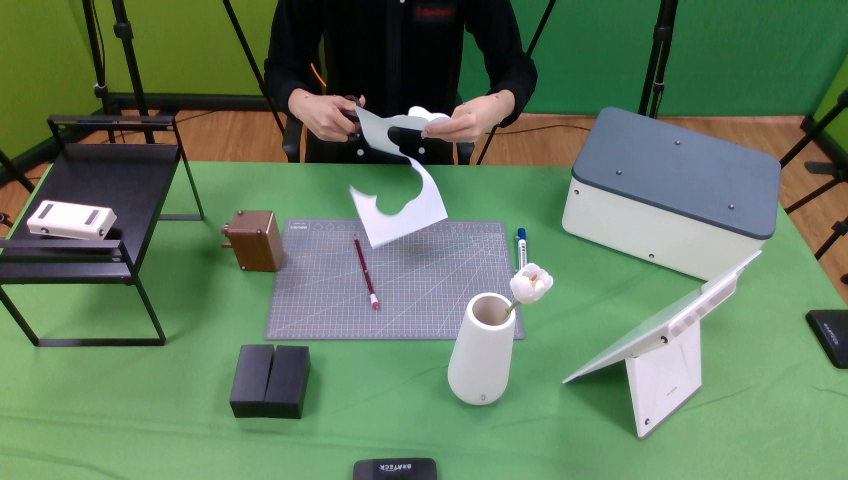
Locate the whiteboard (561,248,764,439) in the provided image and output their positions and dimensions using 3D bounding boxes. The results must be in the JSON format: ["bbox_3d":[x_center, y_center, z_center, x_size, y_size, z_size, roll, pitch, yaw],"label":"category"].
[{"bbox_3d":[0.386,0.176,0.905,0.217,0.306,0.143,-26,72,-27],"label":"whiteboard"}]

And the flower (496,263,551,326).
[{"bbox_3d":[0.102,0.121,0.853,0.044,0.363,0.038,-2,64,-10],"label":"flower"}]

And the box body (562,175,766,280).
[{"bbox_3d":[0.486,-0.088,1.222,0.363,0.161,0.253,20,48,15],"label":"box body"}]

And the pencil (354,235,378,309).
[{"bbox_3d":[-0.113,0.055,1.143,0.012,0.012,0.192,-10,46,-13],"label":"pencil"}]

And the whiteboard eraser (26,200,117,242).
[{"bbox_3d":[-0.532,-0.026,0.919,0.113,0.042,0.055,7,45,3],"label":"whiteboard eraser"}]

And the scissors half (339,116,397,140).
[{"bbox_3d":[-0.099,-0.197,1.054,0.013,0.040,0.174,-9,9,-37],"label":"scissors half"}]

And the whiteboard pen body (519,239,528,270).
[{"bbox_3d":[0.193,0.035,1.181,0.017,0.017,0.140,6,48,1],"label":"whiteboard pen body"}]

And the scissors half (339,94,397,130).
[{"bbox_3d":[-0.098,-0.218,1.048,0.013,0.040,0.174,-15,36,-36],"label":"scissors half"}]

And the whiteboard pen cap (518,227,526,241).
[{"bbox_3d":[0.197,-0.009,1.220,0.018,0.018,0.033,5,51,1],"label":"whiteboard pen cap"}]

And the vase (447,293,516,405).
[{"bbox_3d":[0.091,0.169,0.921,0.098,0.201,0.097,3,47,-3],"label":"vase"}]

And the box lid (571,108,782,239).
[{"bbox_3d":[0.491,-0.139,1.168,0.370,0.015,0.262,21,49,15],"label":"box lid"}]

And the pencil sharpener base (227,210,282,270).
[{"bbox_3d":[-0.311,0.001,1.112,0.077,0.107,0.061,1,47,1],"label":"pencil sharpener base"}]

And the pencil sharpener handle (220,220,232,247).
[{"bbox_3d":[-0.362,-0.009,1.105,0.030,0.068,0.036,1,52,1],"label":"pencil sharpener handle"}]
